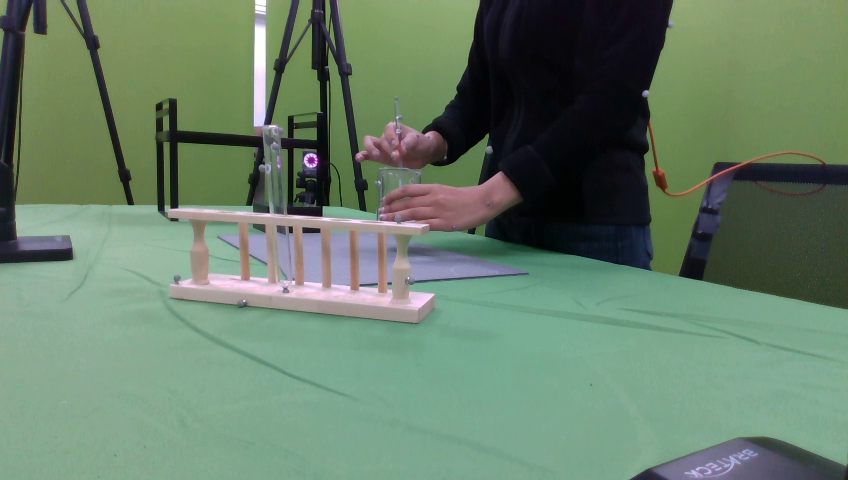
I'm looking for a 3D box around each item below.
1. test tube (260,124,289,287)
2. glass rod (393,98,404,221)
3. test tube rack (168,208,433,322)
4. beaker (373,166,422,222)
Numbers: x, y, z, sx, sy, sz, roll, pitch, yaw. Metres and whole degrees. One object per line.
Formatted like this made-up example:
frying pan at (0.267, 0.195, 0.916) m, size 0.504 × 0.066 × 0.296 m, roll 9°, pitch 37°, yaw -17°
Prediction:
test tube at (-0.137, -0.031, 0.556) m, size 0.017 × 0.150 × 0.017 m, roll -3°, pitch 6°, yaw 1°
glass rod at (-0.040, -0.123, 0.939) m, size 0.008 × 0.199 × 0.008 m, roll -4°, pitch -5°, yaw 0°
test tube rack at (-0.115, 0.017, 0.574) m, size 0.242 × 0.085 × 0.067 m, roll 4°, pitch 8°, yaw 13°
beaker at (-0.039, -0.063, 0.947) m, size 0.083 × 0.100 × 0.074 m, roll 2°, pitch 1°, yaw 42°
